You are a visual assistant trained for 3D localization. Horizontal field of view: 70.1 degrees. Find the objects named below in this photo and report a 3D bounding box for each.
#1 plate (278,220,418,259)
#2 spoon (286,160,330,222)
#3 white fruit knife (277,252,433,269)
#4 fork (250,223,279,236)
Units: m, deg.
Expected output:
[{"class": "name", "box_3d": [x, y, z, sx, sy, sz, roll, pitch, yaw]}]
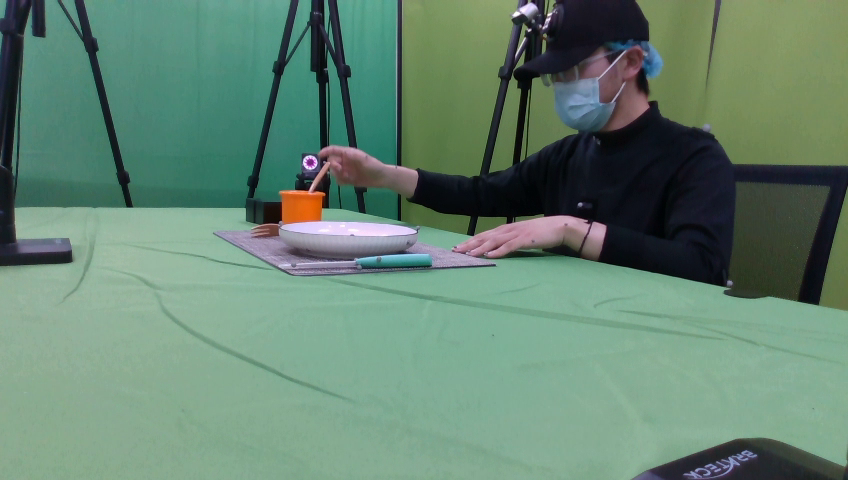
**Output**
[{"class": "plate", "box_3d": [-0.114, -0.002, 0.914, 0.209, 0.038, 0.209, 2, 8, 0]}, {"class": "spoon", "box_3d": [-0.233, -0.101, 1.252, 0.041, 0.193, 0.022, 4, -38, 22]}, {"class": "white fruit knife", "box_3d": [-0.082, 0.029, 0.772, 0.208, 0.016, 0.027, -3, -20, -22]}, {"class": "fork", "box_3d": [-0.194, -0.014, 1.051, 0.208, 0.028, 0.018, 3, 38, -14]}]
